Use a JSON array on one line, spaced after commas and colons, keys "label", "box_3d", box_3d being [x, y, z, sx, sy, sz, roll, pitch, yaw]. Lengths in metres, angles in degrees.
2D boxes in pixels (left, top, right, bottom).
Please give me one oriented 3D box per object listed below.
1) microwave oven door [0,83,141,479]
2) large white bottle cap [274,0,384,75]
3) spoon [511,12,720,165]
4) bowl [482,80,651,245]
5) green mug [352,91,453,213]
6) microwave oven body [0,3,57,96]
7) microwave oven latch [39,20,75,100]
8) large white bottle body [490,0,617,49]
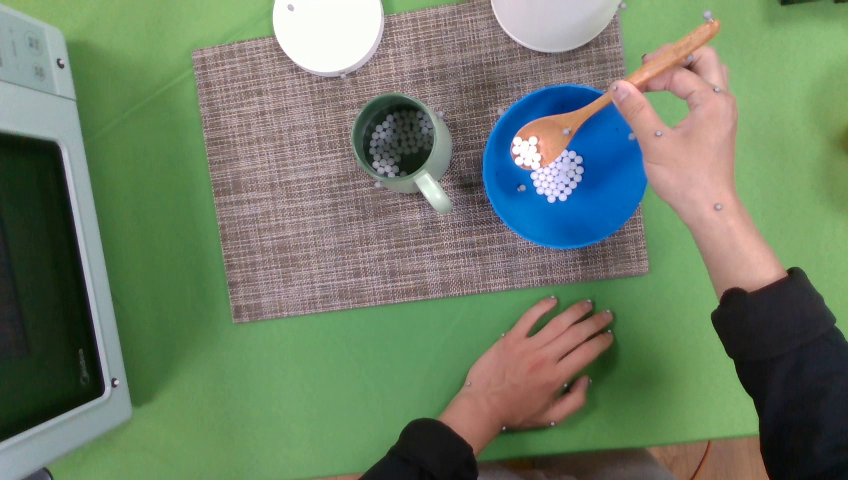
[{"label": "microwave oven door", "box_3d": [-0.375, 0.032, 0.552, 0.039, 0.244, 0.356, -10, 92, 7]}, {"label": "large white bottle cap", "box_3d": [-0.099, -0.231, 0.633, 0.115, 0.018, 0.115, 0, 93, 6]}, {"label": "spoon", "box_3d": [0.145, -0.116, 0.485, 0.193, 0.021, 0.041, -31, 93, 45]}, {"label": "bowl", "box_3d": [0.132, -0.071, 0.587, 0.151, 0.077, 0.151, 0, 94, 7]}, {"label": "green mug", "box_3d": [-0.011, -0.081, 0.589, 0.092, 0.105, 0.125, -35, 89, 6]}, {"label": "microwave oven body", "box_3d": [-0.524, 0.014, 0.572, 0.326, 0.260, 0.442, -9, 93, 6]}, {"label": "microwave oven latch", "box_3d": [-0.398, -0.189, 0.643, 0.030, 0.029, 0.079, -9, 93, 6]}, {"label": "large white bottle body", "box_3d": [0.119, -0.257, 0.524, 0.130, 0.185, 0.130, 0, 89, 6]}]
